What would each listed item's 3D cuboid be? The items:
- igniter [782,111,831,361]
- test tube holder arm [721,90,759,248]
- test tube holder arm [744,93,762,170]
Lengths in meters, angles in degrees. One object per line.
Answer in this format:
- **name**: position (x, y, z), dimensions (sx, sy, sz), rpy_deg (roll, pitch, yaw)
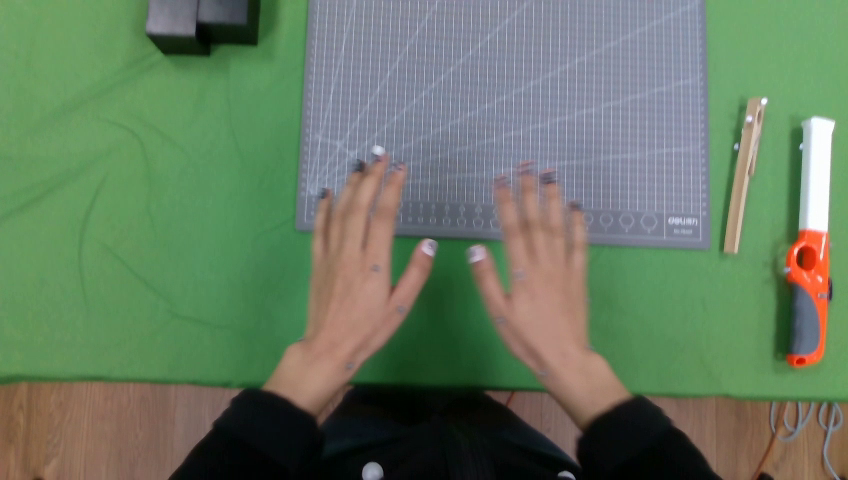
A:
- **igniter**: position (0.419, -0.005, 0.662), dimensions (0.057, 0.025, 0.276), rpy_deg (9, 83, -12)
- **test tube holder arm**: position (0.349, -0.079, 0.669), dimensions (0.013, 0.015, 0.178), rpy_deg (16, 83, -34)
- **test tube holder arm**: position (0.363, -0.121, 0.677), dimensions (0.010, 0.015, 0.087), rpy_deg (18, 82, -34)
